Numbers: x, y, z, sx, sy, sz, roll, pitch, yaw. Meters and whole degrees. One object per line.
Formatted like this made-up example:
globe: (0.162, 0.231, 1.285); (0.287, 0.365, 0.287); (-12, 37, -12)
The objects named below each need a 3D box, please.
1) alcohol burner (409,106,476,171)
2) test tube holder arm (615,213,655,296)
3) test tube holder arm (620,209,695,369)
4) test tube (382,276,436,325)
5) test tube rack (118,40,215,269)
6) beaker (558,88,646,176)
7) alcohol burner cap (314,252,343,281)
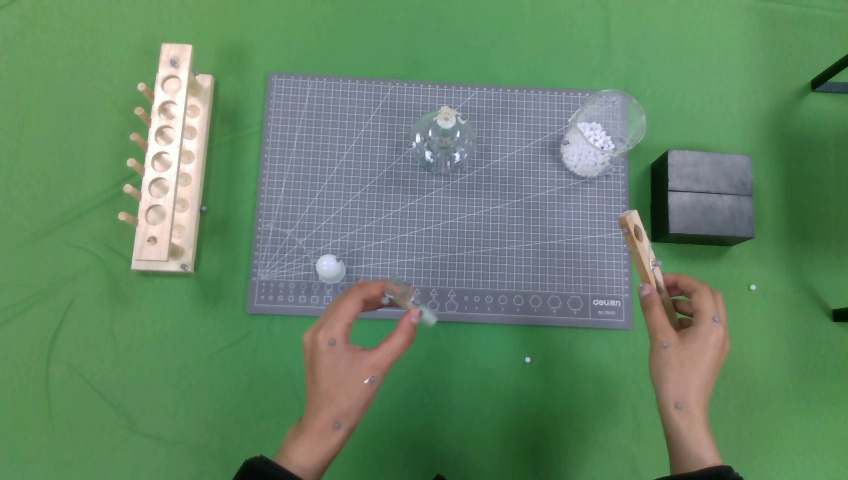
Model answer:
alcohol burner: (0.022, -0.122, 0.688); (0.078, 0.119, 0.077); (0, 79, -1)
test tube holder arm: (0.207, 0.014, 0.586); (0.010, 0.015, 0.088); (-29, 103, -12)
test tube holder arm: (0.232, 0.051, 0.597); (0.013, 0.015, 0.179); (-31, 103, -12)
test tube: (-0.010, 0.056, 0.533); (0.017, 0.151, 0.017); (-3, 72, 11)
test tube rack: (-0.294, -0.094, 0.683); (0.067, 0.085, 0.241); (3, 79, -2)
beaker: (0.199, -0.120, 0.704); (0.084, 0.100, 0.073); (1, 78, -1)
alcohol burner cap: (-0.110, 0.028, 0.688); (0.034, 0.048, 0.033); (1, 79, -4)
